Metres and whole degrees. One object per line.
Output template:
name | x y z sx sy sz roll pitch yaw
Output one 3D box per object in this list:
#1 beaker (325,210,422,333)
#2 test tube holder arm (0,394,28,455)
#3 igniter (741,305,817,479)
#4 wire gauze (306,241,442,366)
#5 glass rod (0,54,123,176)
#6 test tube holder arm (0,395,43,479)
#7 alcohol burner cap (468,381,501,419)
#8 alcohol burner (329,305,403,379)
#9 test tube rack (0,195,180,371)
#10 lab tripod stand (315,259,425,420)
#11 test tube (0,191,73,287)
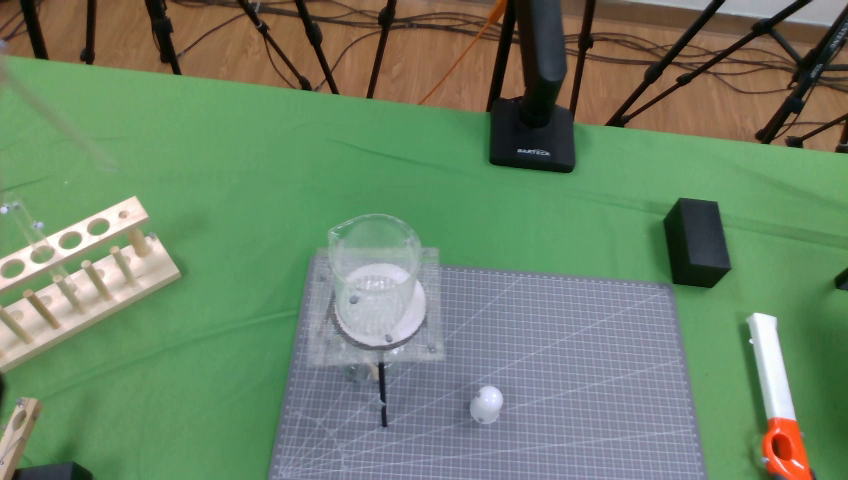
beaker | -0.047 0.031 0.522 0.083 0.101 0.073 27 59 11
test tube holder arm | -0.378 0.220 0.519 0.013 0.015 0.177 7 56 -1
igniter | 0.387 0.198 0.660 0.057 0.025 0.274 13 57 -10
wire gauze | -0.047 0.055 0.565 0.121 0.011 0.124 0 62 -4
glass rod | -0.216 -0.083 0.329 0.008 0.201 0.008 -1 68 2
test tube holder arm | -0.368 0.184 0.544 0.010 0.015 0.087 8 56 -1
alcohol burner cap | 0.065 0.166 0.638 0.034 0.048 0.033 2 58 -3
alcohol burner | -0.059 0.098 0.626 0.078 0.120 0.077 4 57 -5
test tube rack | -0.397 0.053 0.640 0.242 0.086 0.066 -32 66 -23
lab tripod stand | -0.049 0.094 0.617 0.148 0.132 0.147 3 58 -5
test tube | -0.389 0.005 0.613 0.017 0.151 0.017 3 53 -4
